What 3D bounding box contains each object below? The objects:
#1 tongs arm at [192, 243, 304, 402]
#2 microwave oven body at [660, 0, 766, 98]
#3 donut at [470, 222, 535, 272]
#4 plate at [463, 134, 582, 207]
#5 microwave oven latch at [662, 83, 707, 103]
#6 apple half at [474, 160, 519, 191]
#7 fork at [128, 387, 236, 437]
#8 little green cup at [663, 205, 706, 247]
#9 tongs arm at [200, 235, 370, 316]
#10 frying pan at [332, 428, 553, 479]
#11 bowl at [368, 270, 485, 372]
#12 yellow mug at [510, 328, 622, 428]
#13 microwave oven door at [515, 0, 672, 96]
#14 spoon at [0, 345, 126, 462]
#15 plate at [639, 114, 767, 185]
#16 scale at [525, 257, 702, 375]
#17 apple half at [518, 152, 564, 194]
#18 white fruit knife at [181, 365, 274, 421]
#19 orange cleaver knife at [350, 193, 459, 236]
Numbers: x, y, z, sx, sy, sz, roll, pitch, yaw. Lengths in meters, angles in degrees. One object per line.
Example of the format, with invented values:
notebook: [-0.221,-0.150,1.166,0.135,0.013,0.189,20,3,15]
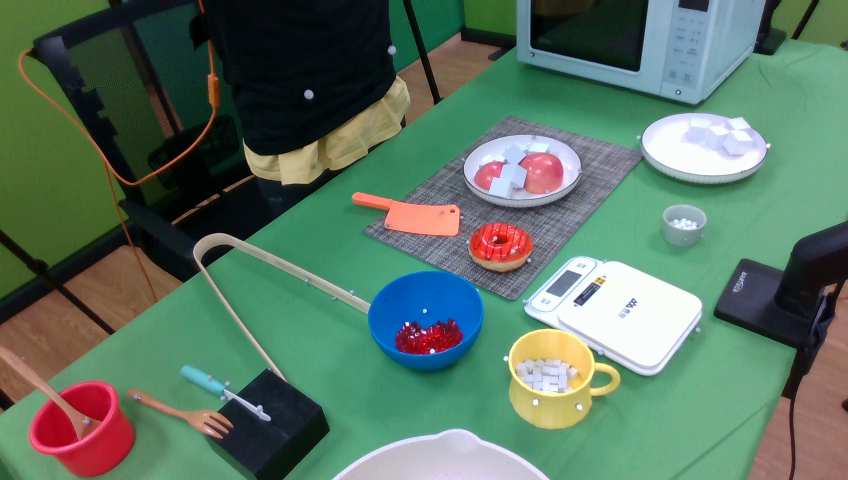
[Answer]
tongs arm: [-0.267,0.108,0.883,0.028,0.028,0.384,-35,46,-19]
microwave oven body: [0.472,-0.513,1.317,0.438,0.261,0.327,26,51,34]
donut: [0.119,0.009,0.923,0.099,0.048,0.098,-4,38,3]
plate: [0.173,-0.119,1.070,0.209,0.038,0.208,-4,40,4]
microwave oven latch: [0.517,-0.296,1.204,0.078,0.029,0.030,27,52,35]
apple half: [0.130,-0.120,1.068,0.081,0.033,0.081,-3,37,3]
fork: [-0.305,0.207,0.744,0.206,0.019,0.028,3,41,36]
little green cup: [0.396,-0.020,0.926,0.061,0.039,0.061,-4,40,4]
tongs arm: [-0.209,0.062,0.924,0.381,0.026,0.051,23,52,33]
frying pan: [-0.089,0.306,0.564,0.487,0.103,0.306,10,41,7]
bowl: [0.007,0.118,0.791,0.151,0.077,0.150,-4,40,4]
yellow mug: [0.169,0.164,0.722,0.130,0.064,0.099,0,40,8]
microwave oven door: [0.343,-0.454,1.259,0.353,0.245,0.039,26,51,33]
spoon: [-0.434,0.192,0.720,0.194,0.021,0.042,47,53,-7]
plate: [0.489,-0.157,1.074,0.207,0.039,0.206,-4,40,4]
scale: [0.254,0.091,0.821,0.199,0.032,0.149,28,51,35]
apple half: [0.204,-0.124,1.048,0.075,0.053,0.080,-6,41,-3]
white fruit knife: [-0.245,0.187,0.747,0.205,0.027,0.016,9,42,40]
orange cleaver knife: [-0.037,-0.044,1.028,0.210,0.012,0.077,10,49,17]
